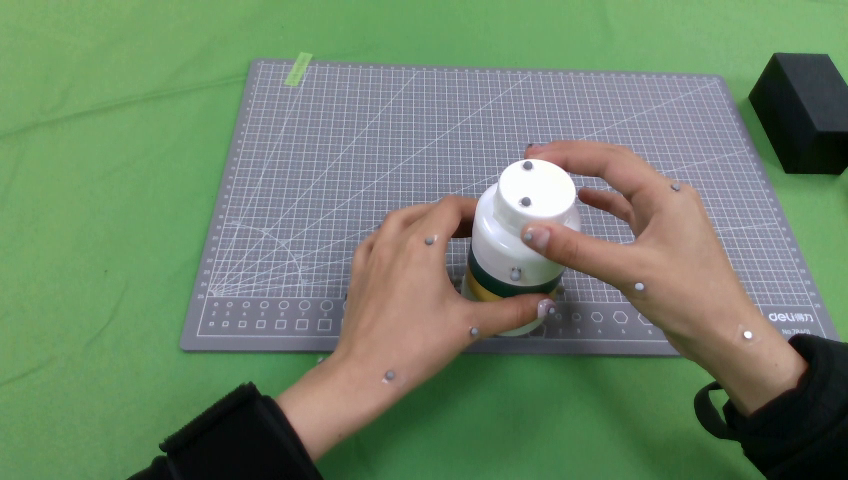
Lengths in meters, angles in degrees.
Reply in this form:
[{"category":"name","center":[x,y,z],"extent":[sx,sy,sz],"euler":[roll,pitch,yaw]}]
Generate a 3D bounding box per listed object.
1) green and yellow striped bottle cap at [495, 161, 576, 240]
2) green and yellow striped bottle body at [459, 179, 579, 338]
[{"category":"green and yellow striped bottle cap","center":[0.062,-0.023,0.337],"extent":[0.045,0.020,0.045],"euler":[-1,54,2]},{"category":"green and yellow striped bottle body","center":[0.058,0.008,0.380],"extent":[0.063,0.120,0.062],"euler":[1,54,-2]}]
